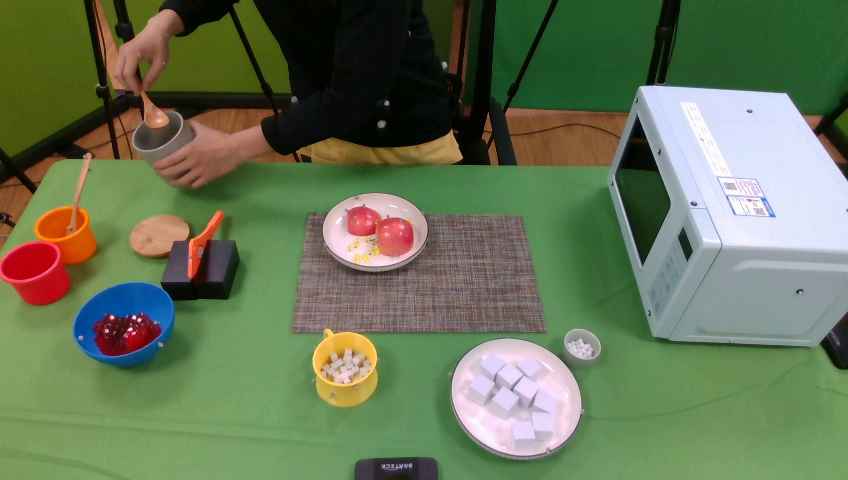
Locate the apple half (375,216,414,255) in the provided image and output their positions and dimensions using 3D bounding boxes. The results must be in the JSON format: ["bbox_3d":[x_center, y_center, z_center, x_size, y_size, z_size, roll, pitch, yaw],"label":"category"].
[{"bbox_3d":[-0.056,-0.017,1.169,0.075,0.053,0.080,0,45,-7],"label":"apple half"}]

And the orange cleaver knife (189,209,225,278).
[{"bbox_3d":[-0.401,0.002,1.122,0.012,0.077,0.210,3,22,-4],"label":"orange cleaver knife"}]

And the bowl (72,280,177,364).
[{"bbox_3d":[-0.473,0.147,0.982,0.151,0.077,0.150,2,46,-2],"label":"bowl"}]

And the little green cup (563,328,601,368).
[{"bbox_3d":[0.265,0.185,1.025,0.061,0.039,0.061,1,45,-1],"label":"little green cup"}]

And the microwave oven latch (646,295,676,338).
[{"bbox_3d":[0.413,0.133,1.061,0.030,0.029,0.078,4,46,1],"label":"microwave oven latch"}]

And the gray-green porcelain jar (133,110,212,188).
[{"bbox_3d":[-0.492,-0.174,1.201,0.106,0.127,0.105,-6,56,10],"label":"gray-green porcelain jar"}]

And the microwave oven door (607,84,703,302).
[{"bbox_3d":[0.424,-0.096,1.138,0.039,0.245,0.353,3,46,-1],"label":"microwave oven door"}]

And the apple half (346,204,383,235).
[{"bbox_3d":[-0.119,-0.049,1.207,0.081,0.033,0.081,2,50,-2],"label":"apple half"}]

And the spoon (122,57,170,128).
[{"bbox_3d":[-0.533,-0.282,1.150,0.041,0.022,0.193,-25,72,-22],"label":"spoon"}]

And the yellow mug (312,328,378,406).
[{"bbox_3d":[-0.132,0.193,0.971,0.100,0.064,0.130,-22,51,-22],"label":"yellow mug"}]

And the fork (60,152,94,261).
[{"bbox_3d":[-0.638,-0.063,1.119,0.028,0.018,0.207,12,90,8],"label":"fork"}]

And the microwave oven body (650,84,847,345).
[{"bbox_3d":[0.569,-0.054,1.116,0.326,0.261,0.439,2,46,-1],"label":"microwave oven body"}]

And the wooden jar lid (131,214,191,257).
[{"bbox_3d":[-0.504,-0.008,1.167,0.108,0.021,0.107,3,46,-3],"label":"wooden jar lid"}]

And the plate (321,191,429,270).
[{"bbox_3d":[-0.094,-0.015,1.185,0.209,0.038,0.208,2,46,-2],"label":"plate"}]

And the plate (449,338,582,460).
[{"bbox_3d":[0.141,0.251,0.956,0.208,0.039,0.206,2,46,-2],"label":"plate"}]
